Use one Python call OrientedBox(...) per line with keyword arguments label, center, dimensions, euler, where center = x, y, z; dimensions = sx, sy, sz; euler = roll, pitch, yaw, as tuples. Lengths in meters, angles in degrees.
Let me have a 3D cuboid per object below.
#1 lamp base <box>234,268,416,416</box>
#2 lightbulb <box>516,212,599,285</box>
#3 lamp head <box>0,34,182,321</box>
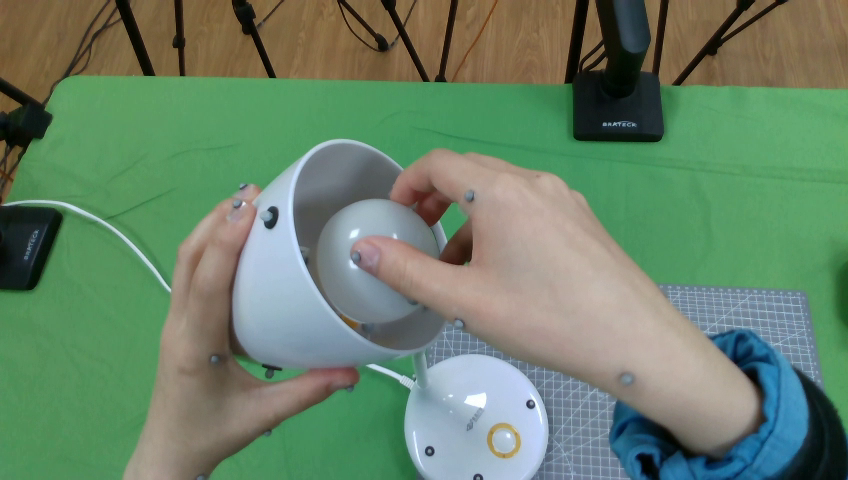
OrientedBox(label="lamp base", center=(-0.102, 0.085, 0.581), dimensions=(0.179, 0.181, 0.160), euler=(10, 75, 6))
OrientedBox(label="lightbulb", center=(0.123, 0.002, 0.584), dimensions=(0.059, 0.060, 0.106), euler=(-32, 36, -8))
OrientedBox(label="lamp head", center=(-0.182, -0.013, 0.270), dimensions=(0.113, 0.122, 0.111), euler=(17, 64, -38))
